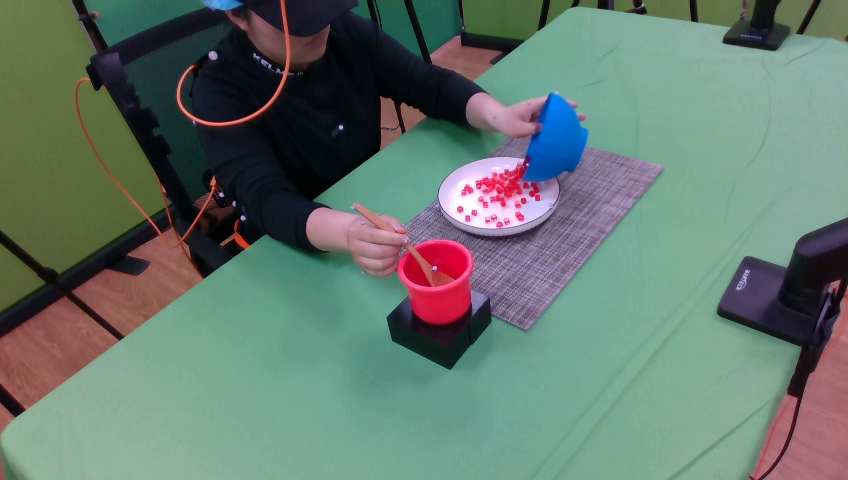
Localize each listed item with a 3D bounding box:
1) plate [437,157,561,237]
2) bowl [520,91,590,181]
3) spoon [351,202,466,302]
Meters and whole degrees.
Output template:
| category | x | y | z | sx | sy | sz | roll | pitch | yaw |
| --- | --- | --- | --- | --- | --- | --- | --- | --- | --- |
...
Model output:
| category | x | y | z | sx | sy | sz | roll | pitch | yaw |
| --- | --- | --- | --- | --- | --- | --- | --- | --- | --- |
| plate | 0.127 | -0.070 | 1.023 | 0.207 | 0.039 | 0.206 | -5 | 40 | 5 |
| bowl | 0.219 | -0.158 | 0.987 | 0.077 | 0.151 | 0.151 | 19 | 44 | 1 |
| spoon | -0.019 | 0.014 | 0.787 | 0.021 | 0.194 | 0.041 | -35 | 17 | 38 |
